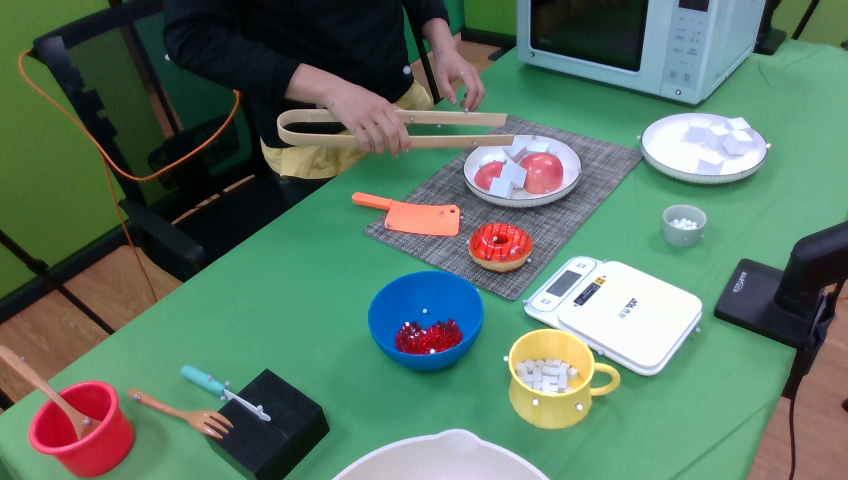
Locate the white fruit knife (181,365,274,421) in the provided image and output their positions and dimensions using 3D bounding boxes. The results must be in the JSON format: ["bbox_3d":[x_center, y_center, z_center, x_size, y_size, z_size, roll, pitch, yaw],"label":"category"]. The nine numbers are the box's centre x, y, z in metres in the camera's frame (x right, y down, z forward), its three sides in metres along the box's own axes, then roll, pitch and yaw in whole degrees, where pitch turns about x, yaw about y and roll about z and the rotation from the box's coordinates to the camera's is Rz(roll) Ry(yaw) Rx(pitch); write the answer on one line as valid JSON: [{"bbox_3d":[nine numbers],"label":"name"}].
[{"bbox_3d":[-0.245,0.187,0.747,0.205,0.027,0.016,9,40,40],"label":"white fruit knife"}]

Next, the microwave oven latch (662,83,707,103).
[{"bbox_3d":[0.517,-0.296,1.204,0.078,0.029,0.030,27,52,35],"label":"microwave oven latch"}]

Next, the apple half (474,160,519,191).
[{"bbox_3d":[0.131,-0.120,1.068,0.081,0.033,0.081,-4,36,4],"label":"apple half"}]

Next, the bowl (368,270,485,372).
[{"bbox_3d":[0.007,0.118,0.791,0.151,0.077,0.150,-4,40,4],"label":"bowl"}]

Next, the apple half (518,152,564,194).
[{"bbox_3d":[0.204,-0.124,1.048,0.075,0.053,0.080,-7,41,-3],"label":"apple half"}]

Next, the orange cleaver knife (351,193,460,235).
[{"bbox_3d":[-0.036,-0.044,1.029,0.210,0.012,0.077,10,48,18],"label":"orange cleaver knife"}]

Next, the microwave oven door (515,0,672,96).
[{"bbox_3d":[0.343,-0.454,1.259,0.353,0.245,0.039,26,51,33],"label":"microwave oven door"}]

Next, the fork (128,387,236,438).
[{"bbox_3d":[-0.305,0.207,0.744,0.206,0.019,0.028,3,42,36],"label":"fork"}]

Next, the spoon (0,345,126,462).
[{"bbox_3d":[-0.434,0.192,0.720,0.194,0.021,0.042,47,53,-7],"label":"spoon"}]

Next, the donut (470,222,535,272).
[{"bbox_3d":[0.119,0.009,0.923,0.099,0.048,0.098,-4,38,3],"label":"donut"}]

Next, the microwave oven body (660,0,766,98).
[{"bbox_3d":[0.472,-0.513,1.317,0.438,0.261,0.327,26,51,34],"label":"microwave oven body"}]

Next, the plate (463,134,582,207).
[{"bbox_3d":[0.173,-0.119,1.070,0.209,0.038,0.208,-4,40,4],"label":"plate"}]

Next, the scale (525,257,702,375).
[{"bbox_3d":[0.254,0.091,0.821,0.199,0.032,0.149,28,51,35],"label":"scale"}]

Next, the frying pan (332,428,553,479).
[{"bbox_3d":[-0.089,0.306,0.564,0.487,0.103,0.306,10,41,7],"label":"frying pan"}]

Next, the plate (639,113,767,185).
[{"bbox_3d":[0.489,-0.157,1.074,0.207,0.039,0.206,-4,40,4],"label":"plate"}]

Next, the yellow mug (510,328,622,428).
[{"bbox_3d":[0.168,0.164,0.722,0.130,0.064,0.099,0,40,8],"label":"yellow mug"}]

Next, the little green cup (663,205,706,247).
[{"bbox_3d":[0.396,-0.020,0.926,0.061,0.039,0.061,-4,40,4],"label":"little green cup"}]

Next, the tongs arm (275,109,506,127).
[{"bbox_3d":[-0.048,-0.194,1.007,0.386,0.026,0.050,1,52,-8],"label":"tongs arm"}]

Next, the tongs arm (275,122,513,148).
[{"bbox_3d":[-0.044,-0.167,0.985,0.389,0.028,0.028,0,55,-9],"label":"tongs arm"}]
